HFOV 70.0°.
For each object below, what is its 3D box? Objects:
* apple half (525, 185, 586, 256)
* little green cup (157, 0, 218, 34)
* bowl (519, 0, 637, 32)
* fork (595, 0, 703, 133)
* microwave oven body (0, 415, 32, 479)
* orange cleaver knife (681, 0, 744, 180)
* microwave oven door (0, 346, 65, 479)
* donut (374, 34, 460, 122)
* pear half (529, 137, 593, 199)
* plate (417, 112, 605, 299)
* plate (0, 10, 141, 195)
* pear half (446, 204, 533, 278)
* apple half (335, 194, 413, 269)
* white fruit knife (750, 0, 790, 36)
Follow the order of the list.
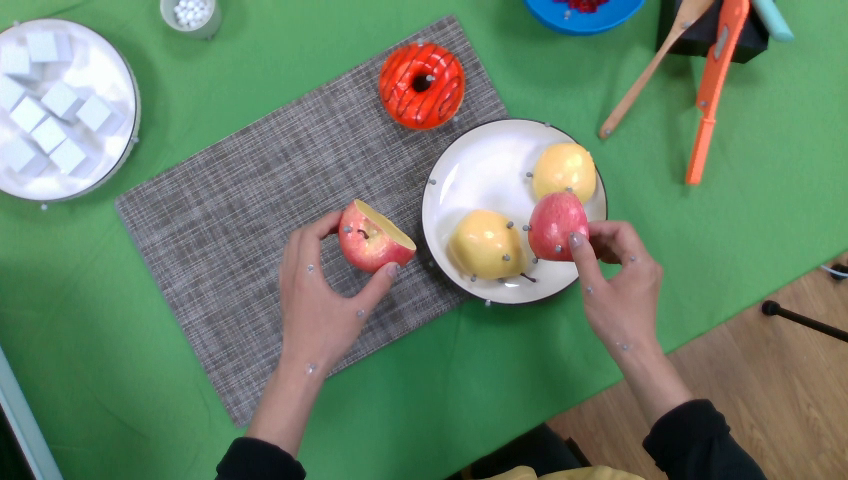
[{"bbox_3d":[0.125,-0.018,0.615,0.033,0.081,0.081,-8,88,-34],"label":"apple half"},{"bbox_3d":[-0.267,-0.267,0.692,0.061,0.038,0.061,0,89,1],"label":"little green cup"},{"bbox_3d":[0.164,-0.296,0.670,0.151,0.077,0.151,0,90,0],"label":"bowl"},{"bbox_3d":[0.251,-0.207,0.663,0.028,0.018,0.208,29,110,-7],"label":"fork"},{"bbox_3d":[-0.587,0.268,0.574,0.326,0.260,0.441,-26,90,0],"label":"microwave oven body"},{"bbox_3d":[0.311,-0.173,0.665,0.012,0.077,0.212,8,115,6],"label":"orange cleaver knife"},{"bbox_3d":[-0.437,0.242,0.568,0.039,0.244,0.355,-27,89,0],"label":"microwave oven door"},{"bbox_3d":[-0.008,-0.181,0.682,0.099,0.048,0.099,0,91,3],"label":"donut"},{"bbox_3d":[0.149,-0.070,0.669,0.070,0.031,0.088,7,101,25],"label":"pear half"},{"bbox_3d":[0.096,-0.038,0.683,0.209,0.038,0.209,0,89,0],"label":"plate"},{"bbox_3d":[-0.424,-0.154,0.692,0.208,0.039,0.207,0,89,0],"label":"plate"},{"bbox_3d":[0.080,0.009,0.669,0.110,0.056,0.076,34,94,-1],"label":"pear half"},{"bbox_3d":[-0.055,-0.001,0.603,0.080,0.074,0.053,41,100,3],"label":"apple half"},{"bbox_3d":[0.335,-0.309,0.651,0.027,0.016,0.207,-26,87,-29],"label":"white fruit knife"}]
